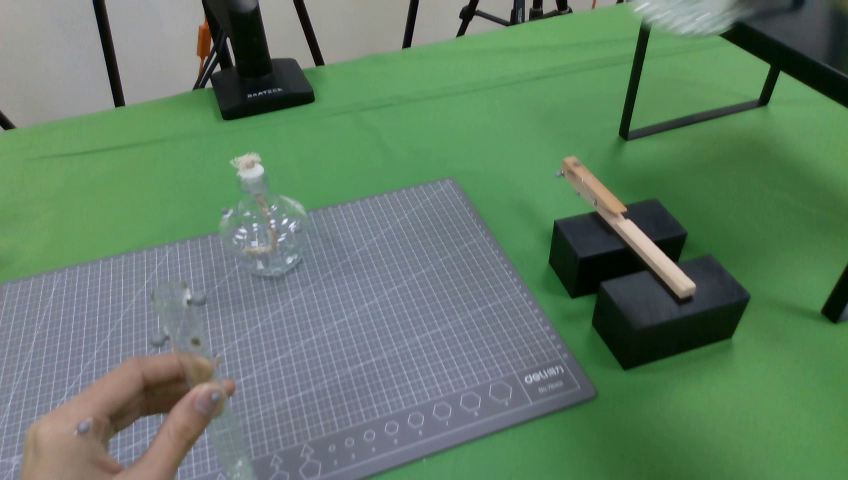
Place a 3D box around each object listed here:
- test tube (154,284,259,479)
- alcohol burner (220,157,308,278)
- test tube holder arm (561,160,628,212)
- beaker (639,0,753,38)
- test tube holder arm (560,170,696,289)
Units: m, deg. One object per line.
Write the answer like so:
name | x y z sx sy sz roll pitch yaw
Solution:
test tube | -0.106 0.083 0.308 0.017 0.151 0.017 -2 37 2
alcohol burner | -0.144 -0.024 0.537 0.078 0.120 0.077 0 42 0
test tube holder arm | 0.152 -0.047 0.545 0.015 0.010 0.087 -10 40 -19
beaker | 0.180 -0.187 0.378 0.084 0.101 0.073 -12 47 -14
test tube holder arm | 0.167 -0.016 0.516 0.015 0.013 0.176 -10 39 -19
